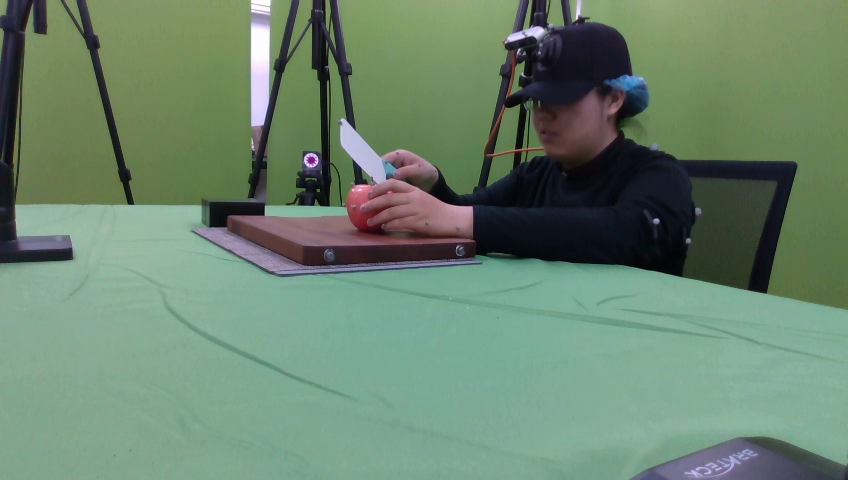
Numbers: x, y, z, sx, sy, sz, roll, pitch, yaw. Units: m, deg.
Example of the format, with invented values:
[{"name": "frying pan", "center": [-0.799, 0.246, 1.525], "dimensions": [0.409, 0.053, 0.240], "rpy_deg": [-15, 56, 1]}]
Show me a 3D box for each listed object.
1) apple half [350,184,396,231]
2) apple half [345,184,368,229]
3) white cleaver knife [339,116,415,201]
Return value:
[{"name": "apple half", "center": [-0.073, -0.050, 0.952], "dimensions": [0.053, 0.074, 0.081], "rpy_deg": [12, 8, 29]}, {"name": "apple half", "center": [-0.106, -0.055, 0.972], "dimensions": [0.032, 0.081, 0.081], "rpy_deg": [12, 11, 29]}, {"name": "white cleaver knife", "center": [-0.078, -0.119, 1.028], "dimensions": [0.021, 0.065, 0.288], "rpy_deg": [-9, -21, 20]}]
